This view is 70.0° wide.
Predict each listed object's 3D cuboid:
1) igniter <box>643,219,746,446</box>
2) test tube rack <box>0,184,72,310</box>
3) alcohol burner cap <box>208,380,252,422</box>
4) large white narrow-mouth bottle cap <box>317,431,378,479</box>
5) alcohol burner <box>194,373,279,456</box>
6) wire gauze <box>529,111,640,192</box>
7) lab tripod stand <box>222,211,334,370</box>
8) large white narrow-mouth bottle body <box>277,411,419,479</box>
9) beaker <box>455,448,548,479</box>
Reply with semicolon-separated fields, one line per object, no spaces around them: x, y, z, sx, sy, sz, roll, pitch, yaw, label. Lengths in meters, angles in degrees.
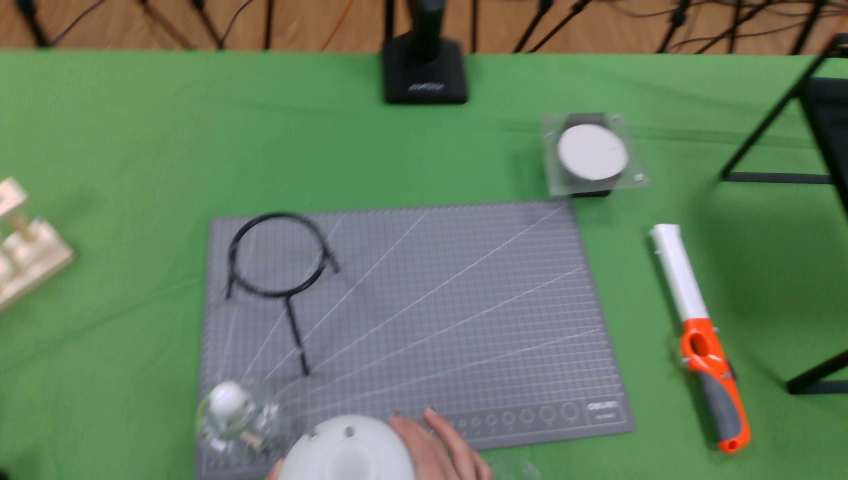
0.310;0.096;0.702;0.057;0.025;0.274;2;60;-17;igniter
-0.495;0.056;0.600;0.066;0.086;0.242;39;63;16;test tube rack
-0.171;0.139;0.528;0.034;0.048;0.033;2;65;-5;alcohol burner cap
-0.046;0.134;0.362;0.038;0.024;0.037;3;60;-5;large white narrow-mouth bottle cap
-0.175;0.156;0.560;0.078;0.120;0.077;4;58;-6;alcohol burner
0.200;-0.116;0.767;0.122;0.011;0.124;-3;61;-8;wire gauze
-0.144;0.046;0.615;0.148;0.132;0.147;4;60;-6;lab tripod stand
-0.054;0.180;0.437;0.102;0.196;0.101;3;59;-5;large white narrow-mouth bottle body
0.062;0.236;0.552;0.084;0.101;0.073;21;59;7;beaker
